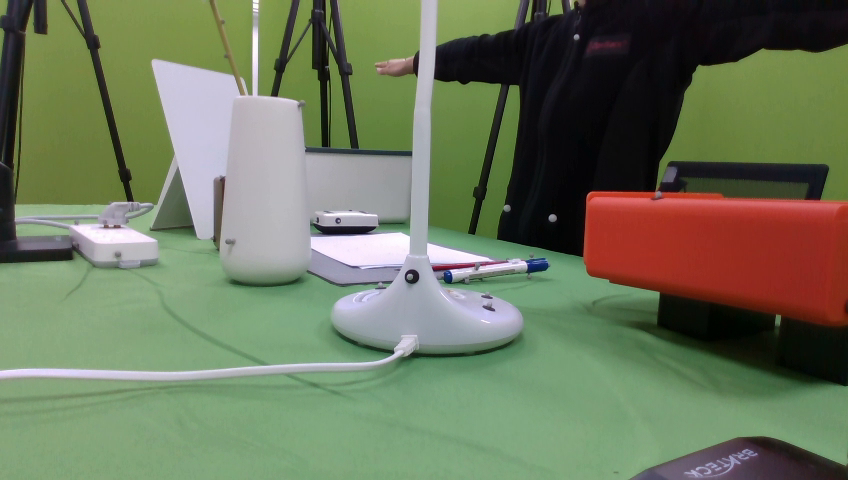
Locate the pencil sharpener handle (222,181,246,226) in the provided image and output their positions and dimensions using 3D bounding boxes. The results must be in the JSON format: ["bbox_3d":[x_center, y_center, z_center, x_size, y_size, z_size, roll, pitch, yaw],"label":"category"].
[{"bbox_3d":[-0.289,-0.055,0.912,0.036,0.067,0.030,-3,9,-29],"label":"pencil sharpener handle"}]

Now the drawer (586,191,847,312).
[{"bbox_3d":[0.281,0.001,0.512,0.195,0.073,0.210,-1,8,-29],"label":"drawer"}]

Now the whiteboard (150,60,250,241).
[{"bbox_3d":[-0.408,-0.139,1.093,0.143,0.305,0.218,-15,-1,26],"label":"whiteboard"}]

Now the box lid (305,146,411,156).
[{"bbox_3d":[-0.229,-0.200,1.360,0.373,0.015,0.262,-3,9,-33],"label":"box lid"}]

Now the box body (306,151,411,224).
[{"bbox_3d":[-0.230,-0.126,1.371,0.366,0.160,0.253,-2,8,-33],"label":"box body"}]

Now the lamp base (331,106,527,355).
[{"bbox_3d":[0.006,-0.012,0.478,0.161,0.180,0.179,2,10,2],"label":"lamp base"}]

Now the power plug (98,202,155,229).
[{"bbox_3d":[-0.416,-0.027,0.848,0.073,0.052,0.035,0,8,-28],"label":"power plug"}]

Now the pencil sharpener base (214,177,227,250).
[{"bbox_3d":[-0.265,-0.036,0.870,0.061,0.107,0.076,-2,8,-29],"label":"pencil sharpener base"}]

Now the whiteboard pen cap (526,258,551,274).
[{"bbox_3d":[0.141,0.033,0.759,0.033,0.018,0.018,-7,11,-26],"label":"whiteboard pen cap"}]

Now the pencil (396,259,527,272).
[{"bbox_3d":[0.053,0.035,0.783,0.195,0.012,0.012,-2,9,-26],"label":"pencil"}]

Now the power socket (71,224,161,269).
[{"bbox_3d":[-0.408,0.004,0.793,0.072,0.032,0.225,-2,8,-38],"label":"power socket"}]

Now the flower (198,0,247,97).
[{"bbox_3d":[-0.187,-0.133,0.648,0.038,0.362,0.044,-1,22,43],"label":"flower"}]

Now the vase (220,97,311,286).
[{"bbox_3d":[-0.172,-0.052,0.662,0.098,0.200,0.098,3,8,0],"label":"vase"}]

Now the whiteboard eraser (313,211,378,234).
[{"bbox_3d":[-0.145,-0.033,1.118,0.113,0.042,0.055,-2,7,-32],"label":"whiteboard eraser"}]

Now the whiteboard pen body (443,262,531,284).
[{"bbox_3d":[0.088,0.038,0.734,0.141,0.017,0.017,-5,10,-27],"label":"whiteboard pen body"}]

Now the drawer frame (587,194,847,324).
[{"bbox_3d":[0.285,0.004,0.508,0.203,0.082,0.212,-1,6,-29],"label":"drawer frame"}]
